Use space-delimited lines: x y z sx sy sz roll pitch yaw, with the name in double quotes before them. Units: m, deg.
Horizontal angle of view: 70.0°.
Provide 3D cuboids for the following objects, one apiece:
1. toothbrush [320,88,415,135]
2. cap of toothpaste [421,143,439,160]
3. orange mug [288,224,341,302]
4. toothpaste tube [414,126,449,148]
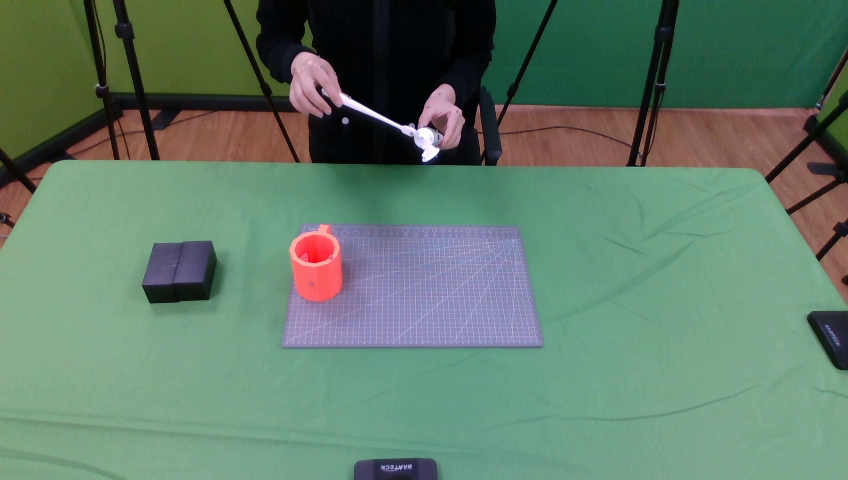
"toothbrush" -0.095 -0.216 1.013 0.181 0.014 0.016 26 32 11
"cap of toothpaste" 0.008 -0.147 0.997 0.037 0.011 0.037 -32 26 18
"orange mug" -0.192 0.034 1.094 0.083 0.101 0.125 7 50 2
"toothpaste tube" 0.012 -0.186 1.078 0.055 0.034 0.165 33 18 0
